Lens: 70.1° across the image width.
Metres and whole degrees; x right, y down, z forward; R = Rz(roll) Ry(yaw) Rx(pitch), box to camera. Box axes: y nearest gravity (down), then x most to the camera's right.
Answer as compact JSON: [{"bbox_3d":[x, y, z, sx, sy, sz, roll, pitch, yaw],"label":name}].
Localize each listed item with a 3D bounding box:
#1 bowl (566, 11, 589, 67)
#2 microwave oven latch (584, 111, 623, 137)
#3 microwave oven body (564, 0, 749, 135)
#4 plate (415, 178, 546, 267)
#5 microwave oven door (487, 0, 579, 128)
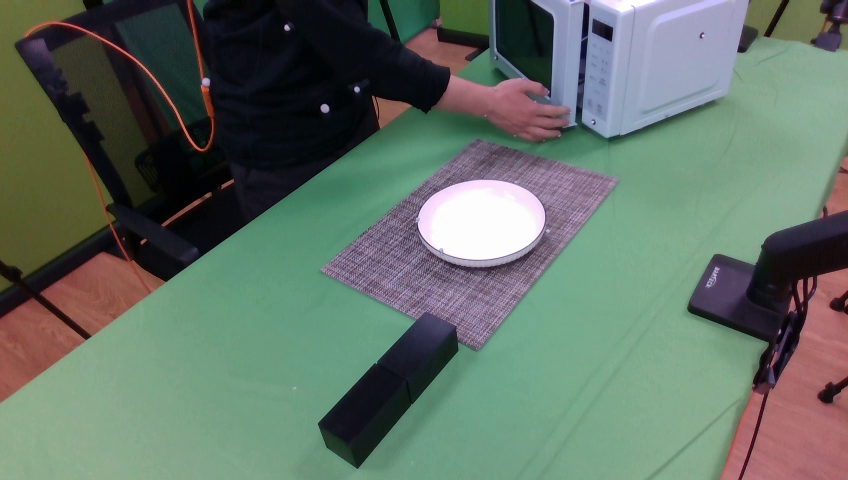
[{"bbox_3d":[0.343,-0.418,1.278,0.151,0.077,0.150,-1,41,1],"label":"bowl"},{"bbox_3d":[0.337,-0.222,1.142,0.030,0.029,0.078,-21,42,-14],"label":"microwave oven latch"},{"bbox_3d":[0.382,-0.444,1.246,0.327,0.261,0.437,-22,42,-16],"label":"microwave oven body"},{"bbox_3d":[0.091,-0.026,0.970,0.207,0.039,0.206,-4,41,4],"label":"plate"},{"bbox_3d":[0.213,-0.413,1.226,0.039,0.245,0.353,-17,41,-11],"label":"microwave oven door"}]
